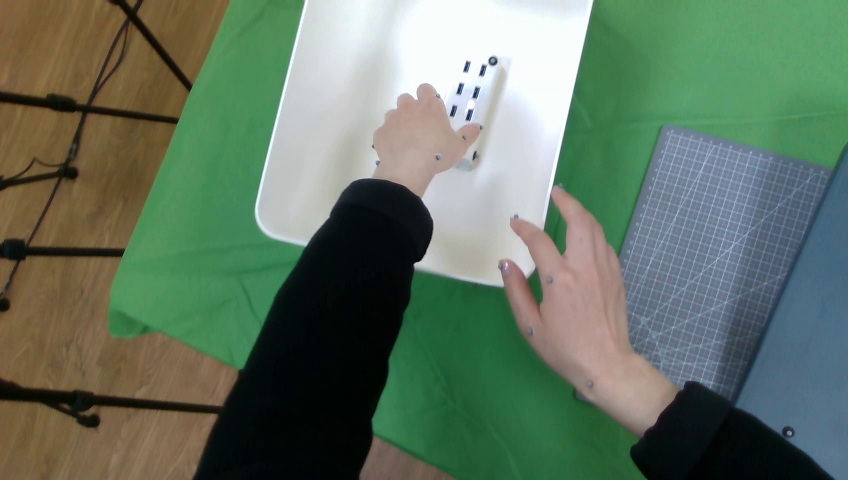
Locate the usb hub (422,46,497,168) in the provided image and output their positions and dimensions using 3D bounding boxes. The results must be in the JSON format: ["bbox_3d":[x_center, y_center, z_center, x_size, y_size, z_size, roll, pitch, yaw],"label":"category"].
[{"bbox_3d":[0.039,-0.144,0.658,0.049,0.025,0.125,16,88,10],"label":"usb hub"}]

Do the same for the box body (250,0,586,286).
[{"bbox_3d":[0.013,-0.150,0.600,0.253,0.161,0.363,11,87,10],"label":"box body"}]

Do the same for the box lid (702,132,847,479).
[{"bbox_3d":[0.441,0.105,0.544,0.262,0.015,0.372,20,100,11],"label":"box lid"}]
